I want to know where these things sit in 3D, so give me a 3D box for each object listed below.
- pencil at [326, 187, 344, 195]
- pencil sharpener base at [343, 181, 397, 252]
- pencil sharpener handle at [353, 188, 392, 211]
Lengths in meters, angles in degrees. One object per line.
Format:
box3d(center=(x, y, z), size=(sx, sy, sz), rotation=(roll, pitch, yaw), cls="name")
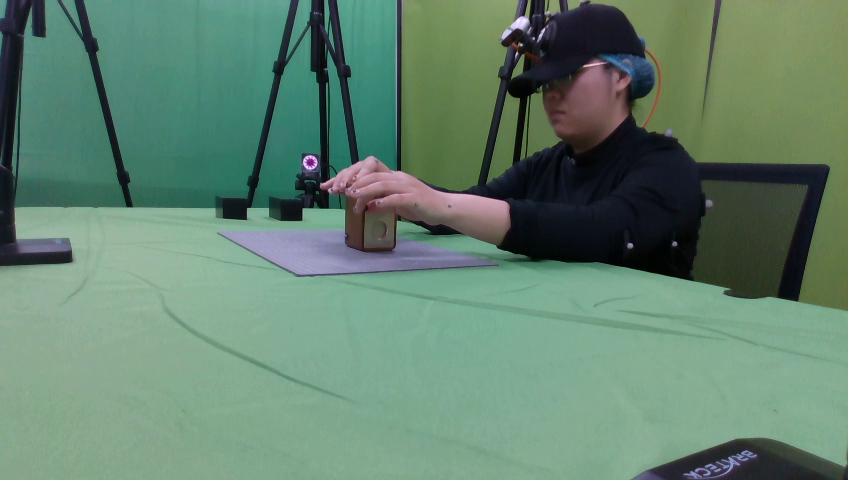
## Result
box3d(center=(-0.124, -0.077, 1.022), size=(0.012, 0.012, 0.193), rotation=(-2, 9, -32), cls="pencil")
box3d(center=(-0.085, -0.038, 0.957), size=(0.062, 0.107, 0.076), rotation=(-2, 9, -32), cls="pencil sharpener base")
box3d(center=(-0.070, -0.056, 0.902), size=(0.068, 0.036, 0.030), rotation=(-11, 14, -31), cls="pencil sharpener handle")
